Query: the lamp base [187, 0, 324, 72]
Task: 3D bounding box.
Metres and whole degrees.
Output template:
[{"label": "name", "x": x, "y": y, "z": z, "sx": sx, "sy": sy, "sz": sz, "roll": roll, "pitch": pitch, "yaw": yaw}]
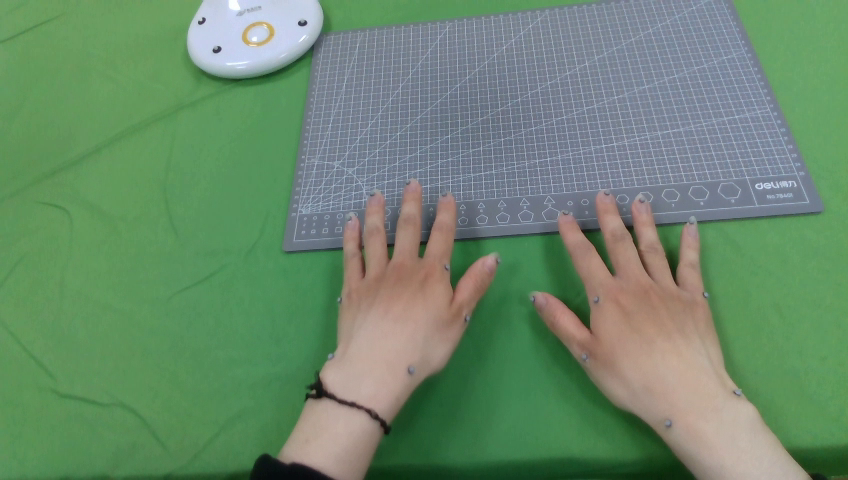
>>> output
[{"label": "lamp base", "x": -0.212, "y": -0.301, "z": 0.643, "sx": 0.160, "sy": 0.182, "sz": 0.177, "roll": -29, "pitch": 54, "yaw": -10}]
